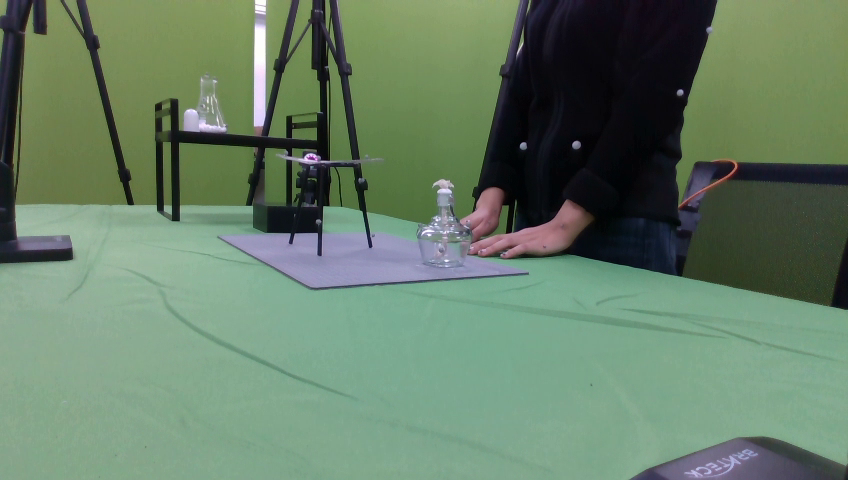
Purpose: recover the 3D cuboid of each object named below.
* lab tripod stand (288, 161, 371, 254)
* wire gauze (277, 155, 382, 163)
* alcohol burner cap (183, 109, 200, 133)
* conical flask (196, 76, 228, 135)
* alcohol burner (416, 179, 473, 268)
[{"bbox_3d":[-0.148,-0.052,0.908,0.148,0.131,0.148,1,8,0],"label":"lab tripod stand"},{"bbox_3d":[-0.142,-0.118,0.899,0.122,0.011,0.124,-3,8,-36],"label":"wire gauze"},{"bbox_3d":[-0.472,-0.241,1.229,0.034,0.048,0.034,4,8,0],"label":"alcohol burner cap"},{"bbox_3d":[-0.465,-0.291,1.311,0.075,0.122,0.075,2,7,0],"label":"conical flask"},{"bbox_3d":[0.027,-0.022,0.816,0.078,0.119,0.078,0,7,0],"label":"alcohol burner"}]
